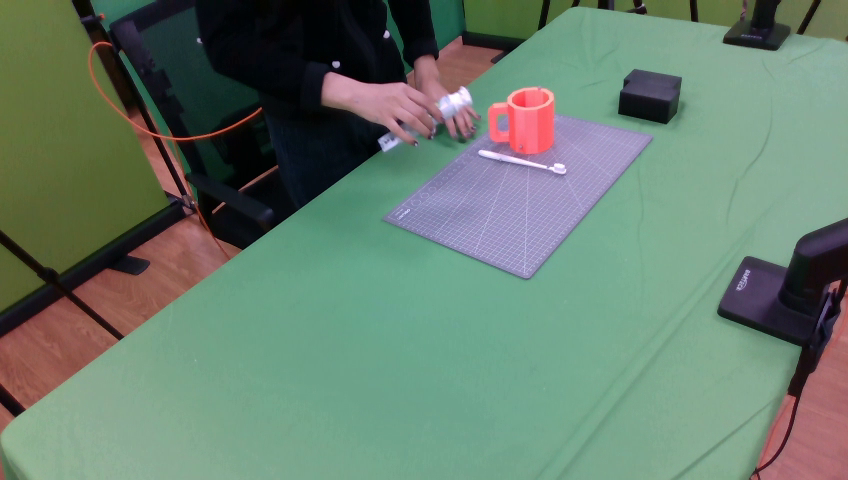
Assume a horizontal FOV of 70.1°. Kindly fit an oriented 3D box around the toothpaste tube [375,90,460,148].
[{"bbox_3d":[-0.009,-0.210,1.039,0.165,0.035,0.054,-31,31,0],"label":"toothpaste tube"}]

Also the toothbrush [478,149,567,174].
[{"bbox_3d":[0.179,-0.149,1.122,0.180,0.017,0.014,18,63,30],"label":"toothbrush"}]

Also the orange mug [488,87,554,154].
[{"bbox_3d":[0.185,-0.227,1.151,0.126,0.101,0.083,1,41,5],"label":"orange mug"}]

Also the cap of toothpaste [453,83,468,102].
[{"bbox_3d":[0.062,-0.251,1.038,0.011,0.037,0.037,-33,45,-12],"label":"cap of toothpaste"}]
